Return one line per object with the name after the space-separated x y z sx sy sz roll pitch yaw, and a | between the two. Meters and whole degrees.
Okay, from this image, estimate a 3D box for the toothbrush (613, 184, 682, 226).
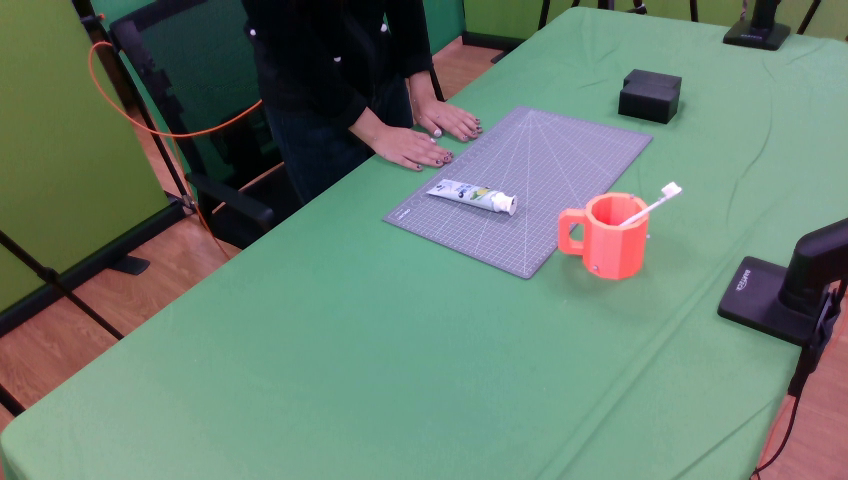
0.293 -0.035 0.847 0.017 0.181 0.014 29 63 -7 | toothbrush

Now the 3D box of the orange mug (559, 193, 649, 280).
0.261 -0.008 0.884 0.126 0.101 0.083 9 43 14 | orange mug

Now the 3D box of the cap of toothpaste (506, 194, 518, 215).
0.146 -0.060 1.008 0.011 0.037 0.037 14 46 22 | cap of toothpaste

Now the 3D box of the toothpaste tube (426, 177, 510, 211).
0.083 -0.081 1.054 0.164 0.034 0.055 18 40 34 | toothpaste tube
